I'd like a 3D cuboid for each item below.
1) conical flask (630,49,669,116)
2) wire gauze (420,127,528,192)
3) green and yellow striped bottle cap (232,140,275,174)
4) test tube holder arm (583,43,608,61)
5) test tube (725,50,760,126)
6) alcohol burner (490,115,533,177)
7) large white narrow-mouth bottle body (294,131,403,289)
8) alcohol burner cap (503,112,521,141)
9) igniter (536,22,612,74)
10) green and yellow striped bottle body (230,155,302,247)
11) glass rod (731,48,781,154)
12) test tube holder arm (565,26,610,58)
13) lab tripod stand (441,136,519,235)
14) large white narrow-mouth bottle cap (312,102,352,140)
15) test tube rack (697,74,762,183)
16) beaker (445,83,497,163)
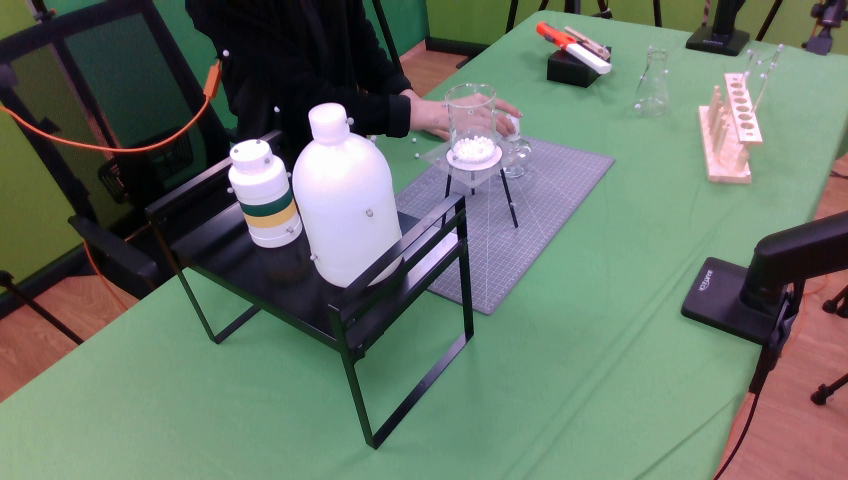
[{"bbox_3d":[0.456,-0.317,1.205,0.075,0.122,0.075,-4,41,4],"label":"conical flask"},{"bbox_3d":[0.076,-0.131,0.927,0.122,0.011,0.124,-35,49,-25],"label":"wire gauze"},{"bbox_3d":[-0.192,-0.094,0.680,0.045,0.020,0.045,-5,39,5],"label":"green and yellow striped bottle cap"},{"bbox_3d":[0.379,-0.420,1.341,0.010,0.015,0.087,-39,41,10],"label":"test tube holder arm"},{"bbox_3d":[0.570,-0.269,1.086,0.017,0.151,0.017,-1,45,2],"label":"test tube"},{"bbox_3d":[0.157,-0.173,1.083,0.078,0.119,0.077,-3,43,4],"label":"alcohol burner"},{"bbox_3d":[-0.082,-0.047,0.634,0.102,0.195,0.101,-4,40,3],"label":"large white narrow-mouth bottle body"},{"bbox_3d":[0.155,-0.201,1.059,0.034,0.048,0.033,-4,41,4],"label":"alcohol burner cap"},{"bbox_3d":[0.330,-0.438,1.366,0.057,0.025,0.274,-11,41,-19],"label":"igniter"},{"bbox_3d":[-0.188,-0.055,0.714,0.063,0.120,0.063,-4,41,4],"label":"green and yellow striped bottle body"},{"bbox_3d":[0.554,-0.228,1.014,0.008,0.200,0.008,1,44,0],"label":"glass rod"},{"bbox_3d":[0.369,-0.451,1.373,0.013,0.015,0.177,-39,41,10],"label":"test tube holder arm"},{"bbox_3d":[0.083,-0.086,0.976,0.148,0.132,0.147,-4,42,4],"label":"lab tripod stand"},{"bbox_3d":[-0.088,-0.114,0.579,0.038,0.024,0.037,-3,39,3],"label":"large white narrow-mouth bottle cap"},{"bbox_3d":[0.547,-0.208,1.095,0.066,0.085,0.242,5,42,15],"label":"test tube rack"},{"bbox_3d":[0.073,-0.175,0.904,0.074,0.101,0.084,3,41,13],"label":"beaker"}]
